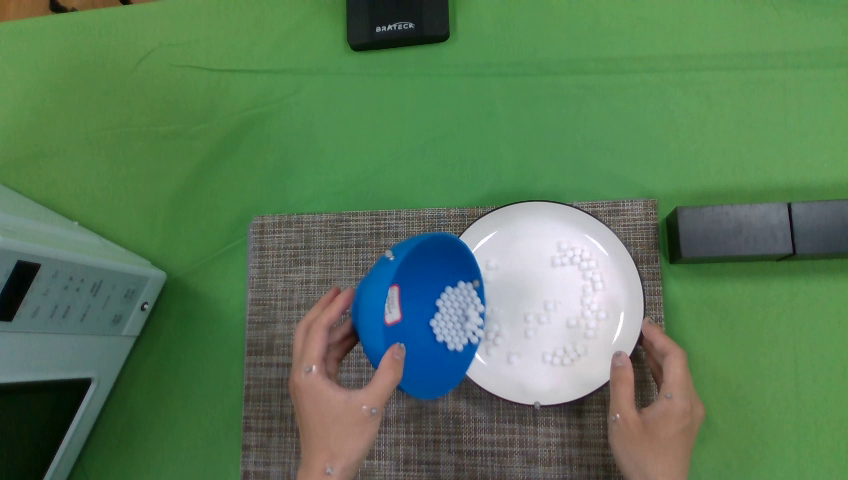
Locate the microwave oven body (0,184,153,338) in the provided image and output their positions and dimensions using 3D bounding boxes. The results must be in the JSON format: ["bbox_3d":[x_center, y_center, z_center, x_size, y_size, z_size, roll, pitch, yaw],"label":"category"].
[{"bbox_3d":[-0.542,0.147,0.600,0.325,0.261,0.441,24,86,12],"label":"microwave oven body"}]

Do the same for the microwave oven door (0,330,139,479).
[{"bbox_3d":[-0.431,0.242,0.561,0.039,0.245,0.355,24,85,13],"label":"microwave oven door"}]

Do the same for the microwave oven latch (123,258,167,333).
[{"bbox_3d":[-0.319,0.063,0.676,0.030,0.029,0.079,26,86,12],"label":"microwave oven latch"}]

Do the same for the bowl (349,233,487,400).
[{"bbox_3d":[-0.016,0.067,0.567,0.076,0.153,0.151,3,80,40],"label":"bowl"}]

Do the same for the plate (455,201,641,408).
[{"bbox_3d":[0.111,0.065,0.621,0.207,0.039,0.207,-1,81,9],"label":"plate"}]
